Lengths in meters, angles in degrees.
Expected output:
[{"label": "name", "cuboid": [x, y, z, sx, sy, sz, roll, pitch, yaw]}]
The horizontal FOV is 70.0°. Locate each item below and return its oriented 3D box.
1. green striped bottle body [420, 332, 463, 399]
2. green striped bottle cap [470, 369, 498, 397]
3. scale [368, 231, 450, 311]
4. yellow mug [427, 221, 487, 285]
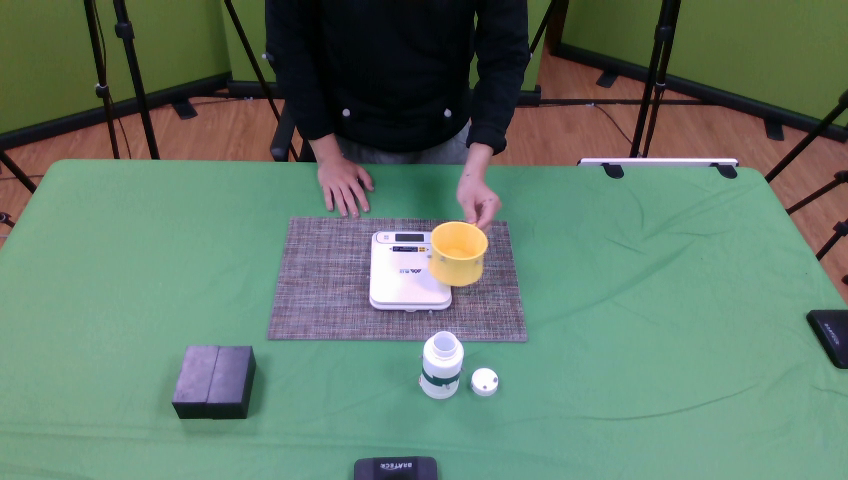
[{"label": "green striped bottle body", "cuboid": [0.027, 0.193, 0.947, 0.063, 0.120, 0.063, 2, 47, -2]}, {"label": "green striped bottle cap", "cuboid": [0.098, 0.232, 0.989, 0.044, 0.020, 0.044, 2, 41, -1]}, {"label": "scale", "cuboid": [-0.029, 0.049, 1.137, 0.149, 0.032, 0.199, 1, 46, -4]}, {"label": "yellow mug", "cuboid": [0.063, 0.013, 1.069, 0.099, 0.064, 0.130, 21, 43, 17]}]
